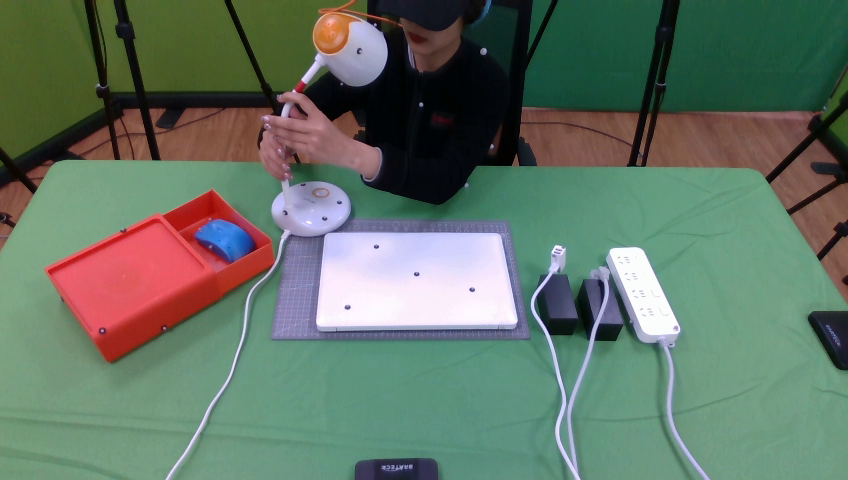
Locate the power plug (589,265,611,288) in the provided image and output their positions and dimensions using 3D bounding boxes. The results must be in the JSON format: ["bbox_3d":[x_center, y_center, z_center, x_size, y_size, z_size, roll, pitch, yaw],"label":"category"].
[{"bbox_3d":[0.317,0.073,1.108,0.035,0.053,0.072,26,34,13],"label":"power plug"}]

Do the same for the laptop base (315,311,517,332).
[{"bbox_3d":[-0.016,0.075,1.125,0.355,0.023,0.234,0,42,-4],"label":"laptop base"}]

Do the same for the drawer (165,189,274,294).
[{"bbox_3d":[-0.418,0.021,1.109,0.193,0.073,0.211,37,54,27],"label":"drawer"}]

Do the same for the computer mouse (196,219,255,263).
[{"bbox_3d":[-0.380,-0.004,1.154,0.116,0.041,0.062,27,53,27],"label":"computer mouse"}]

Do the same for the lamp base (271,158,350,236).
[{"bbox_3d":[-0.234,-0.112,1.177,0.160,0.181,0.178,17,49,14],"label":"lamp base"}]

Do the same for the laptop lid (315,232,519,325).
[{"bbox_3d":[-0.015,0.065,1.118,0.357,0.013,0.240,1,43,-3],"label":"laptop lid"}]

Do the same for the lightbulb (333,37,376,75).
[{"bbox_3d":[-0.124,-0.324,1.049,0.059,0.059,0.108,25,8,20],"label":"lightbulb"}]

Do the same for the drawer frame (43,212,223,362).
[{"bbox_3d":[-0.497,0.073,1.049,0.213,0.083,0.200,-35,57,-31],"label":"drawer frame"}]

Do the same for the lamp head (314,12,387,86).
[{"bbox_3d":[-0.136,-0.329,1.027,0.112,0.112,0.123,24,10,19],"label":"lamp head"}]

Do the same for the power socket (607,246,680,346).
[{"bbox_3d":[0.403,0.096,1.123,0.072,0.033,0.225,-2,46,-5],"label":"power socket"}]

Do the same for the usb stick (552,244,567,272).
[{"bbox_3d":[0.251,0.039,1.123,0.021,0.059,0.027,14,47,25],"label":"usb stick"}]
